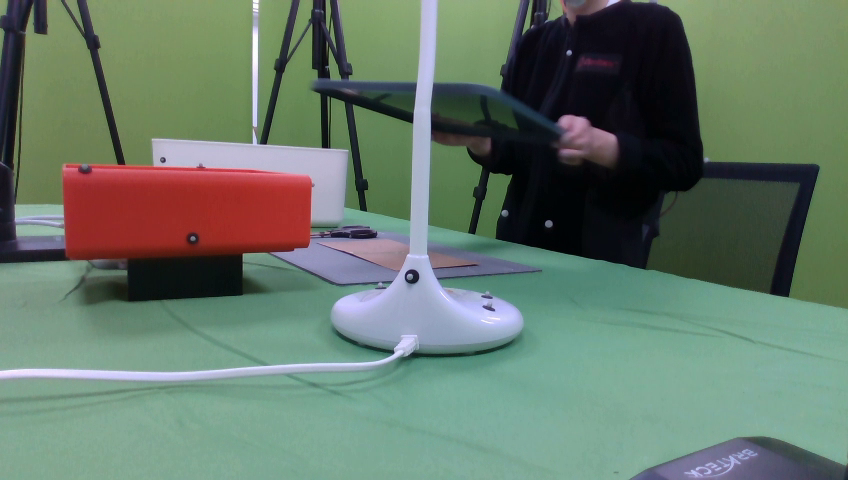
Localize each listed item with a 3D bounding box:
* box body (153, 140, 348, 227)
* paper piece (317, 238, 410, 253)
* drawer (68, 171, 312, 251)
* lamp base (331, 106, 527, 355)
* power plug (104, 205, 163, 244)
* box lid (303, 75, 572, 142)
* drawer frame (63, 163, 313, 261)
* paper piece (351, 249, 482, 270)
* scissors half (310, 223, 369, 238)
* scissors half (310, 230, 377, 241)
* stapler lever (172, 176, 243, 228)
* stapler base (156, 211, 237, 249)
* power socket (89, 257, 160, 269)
[{"bbox_3d":[-0.357,-0.119,1.264,0.365,0.160,0.253,0,7,-18],"label":"box body"},{"bbox_3d":[-0.083,0.008,0.952,0.136,0.004,0.134,-2,9,-32],"label":"paper piece"},{"bbox_3d":[-0.247,-0.036,0.629,0.213,0.073,0.193,-3,9,-30],"label":"drawer"},{"bbox_3d":[0.006,-0.012,0.478,0.161,0.180,0.179,2,10,2],"label":"lamp base"},{"bbox_3d":[-0.390,-0.021,0.816,0.073,0.052,0.035,-1,8,-28],"label":"power plug"},{"bbox_3d":[0.038,-0.180,0.865,0.262,0.015,0.373,12,6,31],"label":"box lid"},{"bbox_3d":[-0.248,-0.036,0.626,0.215,0.082,0.200,-3,9,-31],"label":"drawer frame"},{"bbox_3d":[-0.013,0.026,0.841,0.139,0.008,0.135,0,11,-32],"label":"paper piece"},{"bbox_3d":[-0.172,-0.013,1.062,0.176,0.013,0.040,-10,29,-43],"label":"scissors half"},{"bbox_3d":[-0.161,-0.004,1.048,0.176,0.013,0.040,0,29,-27],"label":"scissors half"},{"bbox_3d":[-0.217,-0.041,0.618,0.027,0.040,0.118,18,11,-2],"label":"stapler lever"},{"bbox_3d":[-0.227,-0.017,0.624,0.041,0.024,0.130,18,10,-2],"label":"stapler base"},{"bbox_3d":[-0.409,0.004,0.793,0.072,0.032,0.225,-2,8,-38],"label":"power socket"}]
